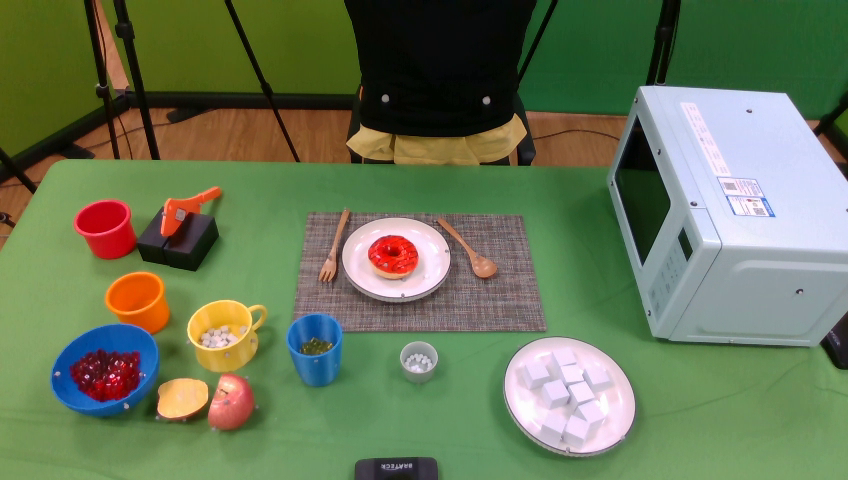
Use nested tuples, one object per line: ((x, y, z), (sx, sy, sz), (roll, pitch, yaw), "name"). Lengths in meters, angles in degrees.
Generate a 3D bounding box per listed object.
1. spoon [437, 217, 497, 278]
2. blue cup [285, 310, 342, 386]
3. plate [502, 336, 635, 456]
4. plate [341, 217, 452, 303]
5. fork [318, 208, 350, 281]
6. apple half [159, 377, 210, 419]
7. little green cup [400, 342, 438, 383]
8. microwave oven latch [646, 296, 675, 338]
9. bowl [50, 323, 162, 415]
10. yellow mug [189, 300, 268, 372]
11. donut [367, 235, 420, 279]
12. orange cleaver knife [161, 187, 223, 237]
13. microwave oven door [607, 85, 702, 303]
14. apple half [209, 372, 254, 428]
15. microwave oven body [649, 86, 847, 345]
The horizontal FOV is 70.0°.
((0.080, 0.010, 1.188), (0.041, 0.022, 0.192), (-34, 55, -7), "spoon")
((-0.170, 0.179, 0.958), (0.093, 0.101, 0.092), (2, 44, -2), "blue cup")
((0.225, 0.248, 0.963), (0.208, 0.039, 0.206), (2, 46, -2), "plate")
((-0.052, 0.039, 1.140), (0.209, 0.038, 0.208), (2, 46, -2), "plate")
((-0.170, 0.005, 1.177), (0.028, 0.019, 0.206), (1, 47, 10), "fork")
((-0.366, 0.247, 0.926), (0.081, 0.033, 0.081), (8, 31, -5), "apple half")
((-0.010, 0.202, 0.991), (0.061, 0.039, 0.061), (2, 47, -2), "little green cup")
((0.412, 0.134, 1.061), (0.030, 0.029, 0.078), (4, 45, 1), "microwave oven latch")
((-0.472, 0.209, 0.924), (0.151, 0.077, 0.150), (3, 45, -2), "bowl")
((-0.316, 0.148, 1.001), (0.131, 0.064, 0.099), (-32, 55, -31), "yellow mug")
((-0.056, 0.032, 1.131), (0.099, 0.048, 0.098), (3, 45, -3), "donut")
((-0.449, -0.059, 1.181), (0.012, 0.077, 0.211), (14, 17, 6), "orange cleaver knife")
((0.423, -0.094, 1.141), (0.039, 0.245, 0.353), (2, 46, -1), "microwave oven door")
((-0.282, 0.243, 0.908), (0.053, 0.075, 0.080), (8, 42, -3), "apple half")
((0.568, -0.053, 1.119), (0.326, 0.261, 0.439), (2, 45, -1), "microwave oven body")
